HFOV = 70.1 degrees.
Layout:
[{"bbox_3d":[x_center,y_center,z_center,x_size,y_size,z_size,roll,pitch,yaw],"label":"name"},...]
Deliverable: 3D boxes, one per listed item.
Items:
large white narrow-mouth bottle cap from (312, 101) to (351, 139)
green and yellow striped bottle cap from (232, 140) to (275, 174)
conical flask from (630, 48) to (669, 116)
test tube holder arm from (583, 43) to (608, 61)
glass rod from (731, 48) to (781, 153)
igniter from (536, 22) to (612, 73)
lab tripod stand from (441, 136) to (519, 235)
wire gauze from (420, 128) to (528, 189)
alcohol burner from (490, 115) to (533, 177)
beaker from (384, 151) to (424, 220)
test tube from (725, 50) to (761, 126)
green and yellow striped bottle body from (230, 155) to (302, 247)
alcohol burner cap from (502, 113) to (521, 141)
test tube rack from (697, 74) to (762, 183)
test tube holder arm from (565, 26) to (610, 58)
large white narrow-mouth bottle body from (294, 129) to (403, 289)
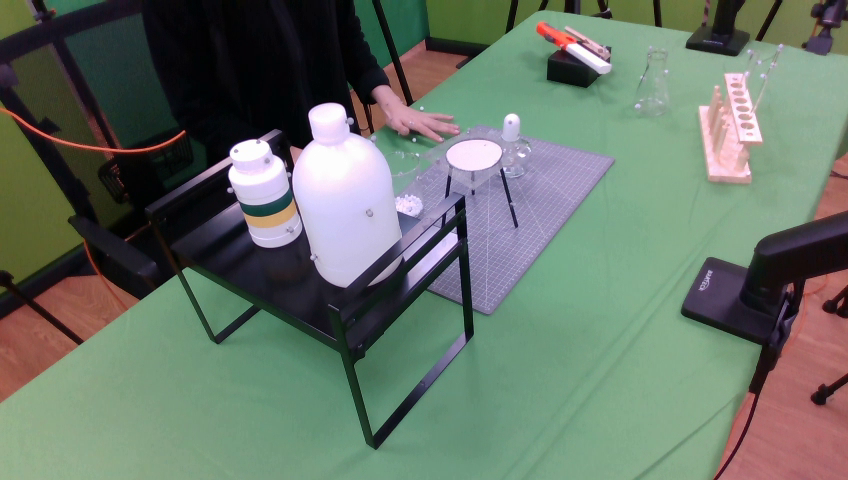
[{"bbox_3d":[-0.088,-0.115,0.578,0.038,0.024,0.037,-3,39,3],"label":"large white narrow-mouth bottle cap"},{"bbox_3d":[-0.192,-0.094,0.680,0.045,0.020,0.045,-5,39,5],"label":"green and yellow striped bottle cap"},{"bbox_3d":[0.456,-0.317,1.205,0.075,0.122,0.075,-4,41,4],"label":"conical flask"},{"bbox_3d":[0.379,-0.420,1.341,0.010,0.015,0.087,-39,41,10],"label":"test tube holder arm"},{"bbox_3d":[0.554,-0.228,1.014,0.008,0.200,0.008,1,44,-1],"label":"glass rod"},{"bbox_3d":[0.330,-0.439,1.366,0.057,0.025,0.274,-12,41,-20],"label":"igniter"},{"bbox_3d":[0.083,-0.086,0.976,0.148,0.132,0.147,-4,42,4],"label":"lab tripod stand"},{"bbox_3d":[0.076,-0.132,0.926,0.122,0.011,0.124,-34,47,-26],"label":"wire gauze"},{"bbox_3d":[0.157,-0.173,1.083,0.078,0.119,0.077,-4,43,4],"label":"alcohol burner"},{"bbox_3d":[-0.038,-0.092,1.026,0.074,0.101,0.083,2,41,10],"label":"beaker"},{"bbox_3d":[0.570,-0.269,1.086,0.017,0.151,0.017,-1,45,2],"label":"test tube"},{"bbox_3d":[-0.188,-0.055,0.714,0.063,0.120,0.063,-4,41,4],"label":"green and yellow striped bottle body"},{"bbox_3d":[0.155,-0.200,1.058,0.034,0.048,0.033,-1,50,2],"label":"alcohol burner cap"},{"bbox_3d":[0.547,-0.208,1.094,0.066,0.085,0.242,5,42,15],"label":"test tube rack"},{"bbox_3d":[0.369,-0.451,1.373,0.013,0.015,0.177,-39,41,10],"label":"test tube holder arm"},{"bbox_3d":[-0.082,-0.047,0.634,0.102,0.195,0.101,-4,39,3],"label":"large white narrow-mouth bottle body"}]
